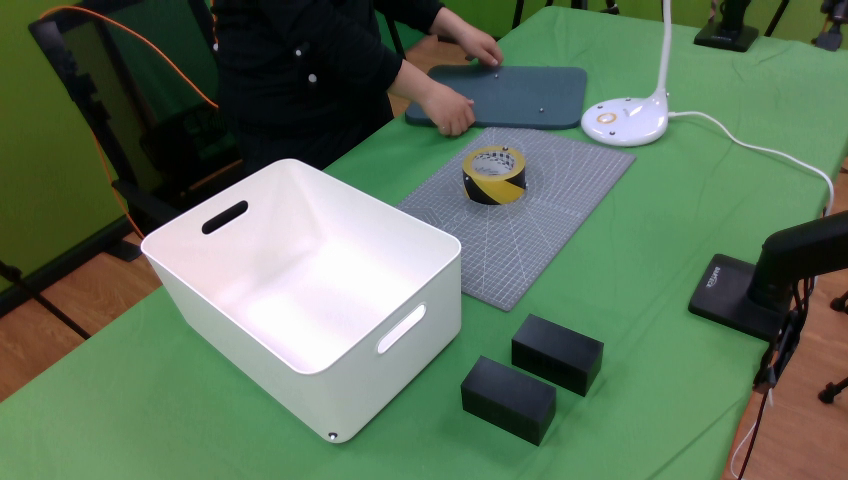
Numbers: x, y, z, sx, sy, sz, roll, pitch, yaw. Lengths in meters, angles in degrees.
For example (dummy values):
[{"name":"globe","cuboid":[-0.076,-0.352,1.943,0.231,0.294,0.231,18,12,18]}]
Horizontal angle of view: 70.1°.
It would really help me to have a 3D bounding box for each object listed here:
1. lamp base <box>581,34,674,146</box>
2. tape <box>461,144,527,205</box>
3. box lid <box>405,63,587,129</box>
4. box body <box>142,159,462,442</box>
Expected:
[{"name":"lamp base","cuboid":[0.392,-0.291,1.129,0.180,0.181,0.159,-11,41,-8]},{"name":"tape","cuboid":[0.124,-0.116,1.058,0.117,0.053,0.116,-4,42,4]},{"name":"box lid","cuboid":[0.163,-0.320,1.323,0.370,0.015,0.263,6,42,14]},{"name":"box body","cuboid":[-0.152,0.063,0.809,0.361,0.161,0.255,27,51,33]}]
